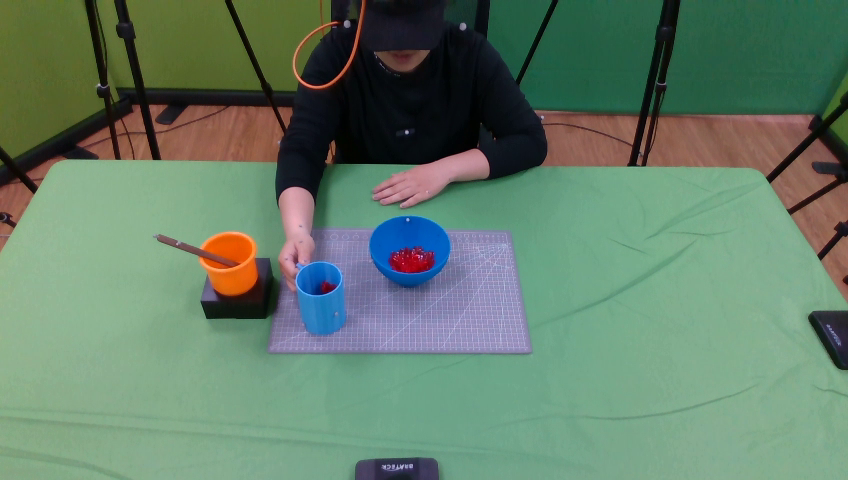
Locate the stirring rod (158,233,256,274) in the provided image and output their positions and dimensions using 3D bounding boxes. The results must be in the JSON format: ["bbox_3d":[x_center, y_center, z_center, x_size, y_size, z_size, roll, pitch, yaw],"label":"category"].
[{"bbox_3d":[-0.354,0.024,1.000,0.177,0.006,0.014,27,32,-40],"label":"stirring rod"}]

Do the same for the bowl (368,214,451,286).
[{"bbox_3d":[-0.028,0.031,1.122,0.151,0.077,0.150,2,46,-2],"label":"bowl"}]

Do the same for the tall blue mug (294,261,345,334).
[{"bbox_3d":[-0.189,0.093,1.030,0.107,0.108,0.077,20,49,14],"label":"tall blue mug"}]
